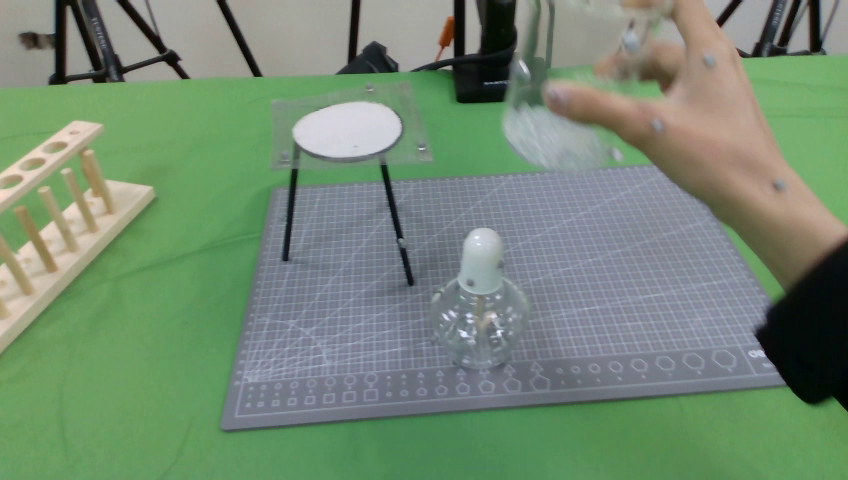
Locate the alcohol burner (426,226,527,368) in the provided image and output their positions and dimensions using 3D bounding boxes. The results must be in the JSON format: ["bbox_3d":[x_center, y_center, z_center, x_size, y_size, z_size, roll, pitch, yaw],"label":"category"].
[{"bbox_3d":[0.040,0.039,0.453,0.078,0.120,0.077,-1,39,1],"label":"alcohol burner"}]

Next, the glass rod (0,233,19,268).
[{"bbox_3d":[-0.384,-0.056,0.500,0.008,0.201,0.008,-4,35,3],"label":"glass rod"}]

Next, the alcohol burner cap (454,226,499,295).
[{"bbox_3d":[0.038,0.013,0.429,0.034,0.048,0.033,1,38,0],"label":"alcohol burner cap"}]

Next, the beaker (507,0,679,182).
[{"bbox_3d":[0.089,-0.092,0.354,0.084,0.101,0.073,-2,44,-12],"label":"beaker"}]

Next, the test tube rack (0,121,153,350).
[{"bbox_3d":[-0.355,-0.007,0.544,0.066,0.086,0.240,9,42,12],"label":"test tube rack"}]

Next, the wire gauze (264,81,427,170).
[{"bbox_3d":[-0.068,-0.094,0.491,0.125,0.011,0.120,-8,41,-6],"label":"wire gauze"}]

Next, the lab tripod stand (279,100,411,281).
[{"bbox_3d":[-0.066,-0.043,0.536,0.148,0.133,0.147,-1,43,1],"label":"lab tripod stand"}]
